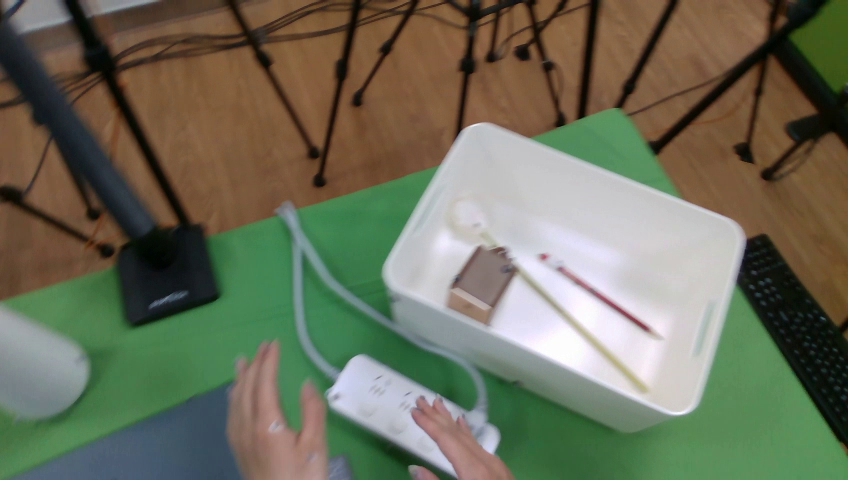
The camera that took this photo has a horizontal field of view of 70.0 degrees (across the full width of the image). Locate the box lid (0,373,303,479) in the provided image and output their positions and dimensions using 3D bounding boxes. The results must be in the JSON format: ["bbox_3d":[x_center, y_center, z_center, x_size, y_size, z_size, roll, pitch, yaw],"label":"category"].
[{"bbox_3d":[-0.316,0.331,0.682,0.372,0.015,0.261,-23,66,-13],"label":"box lid"}]

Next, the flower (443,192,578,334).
[{"bbox_3d":[0.156,0.071,0.830,0.044,0.038,0.360,-43,77,4],"label":"flower"}]

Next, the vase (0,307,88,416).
[{"bbox_3d":[-0.462,0.129,0.675,0.098,0.201,0.097,1,61,-2],"label":"vase"}]

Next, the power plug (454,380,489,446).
[{"bbox_3d":[0.065,0.211,0.722,0.035,0.053,0.072,34,62,17],"label":"power plug"}]

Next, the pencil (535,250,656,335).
[{"bbox_3d":[0.234,0.072,0.833,0.193,0.012,0.012,36,67,13],"label":"pencil"}]

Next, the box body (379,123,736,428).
[{"bbox_3d":[0.155,0.048,0.762,0.363,0.161,0.253,23,64,9],"label":"box body"}]

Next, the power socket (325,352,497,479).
[{"bbox_3d":[-0.015,0.214,0.743,0.226,0.033,0.072,26,64,11],"label":"power socket"}]

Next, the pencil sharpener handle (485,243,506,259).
[{"bbox_3d":[0.095,0.018,0.783,0.036,0.068,0.030,26,65,17],"label":"pencil sharpener handle"}]

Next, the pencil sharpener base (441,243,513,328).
[{"bbox_3d":[0.067,0.062,0.774,0.061,0.108,0.076,29,66,13],"label":"pencil sharpener base"}]
